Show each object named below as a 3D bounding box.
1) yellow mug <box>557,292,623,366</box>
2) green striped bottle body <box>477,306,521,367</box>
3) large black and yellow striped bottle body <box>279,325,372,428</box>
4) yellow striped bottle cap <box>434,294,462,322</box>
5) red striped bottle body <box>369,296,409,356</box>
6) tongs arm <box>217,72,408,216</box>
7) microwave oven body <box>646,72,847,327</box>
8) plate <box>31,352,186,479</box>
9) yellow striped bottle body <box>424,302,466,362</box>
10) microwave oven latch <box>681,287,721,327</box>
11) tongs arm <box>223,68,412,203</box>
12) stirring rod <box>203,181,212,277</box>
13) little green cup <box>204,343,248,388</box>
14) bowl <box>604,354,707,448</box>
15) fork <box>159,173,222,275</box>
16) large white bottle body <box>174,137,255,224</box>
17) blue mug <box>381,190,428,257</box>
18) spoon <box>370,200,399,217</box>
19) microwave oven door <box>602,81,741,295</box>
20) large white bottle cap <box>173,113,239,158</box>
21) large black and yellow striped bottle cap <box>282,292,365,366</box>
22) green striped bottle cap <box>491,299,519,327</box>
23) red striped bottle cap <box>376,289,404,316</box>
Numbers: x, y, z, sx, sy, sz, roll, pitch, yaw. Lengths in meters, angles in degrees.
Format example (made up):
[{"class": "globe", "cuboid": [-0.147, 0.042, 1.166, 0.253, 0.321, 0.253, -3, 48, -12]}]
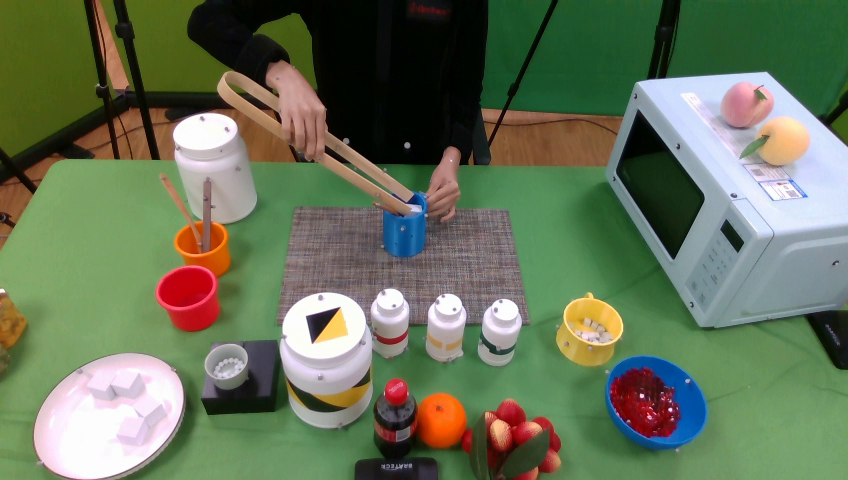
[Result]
[{"class": "yellow mug", "cuboid": [0.285, 0.145, 1.051, 0.100, 0.064, 0.130, 7, 45, 4]}, {"class": "green striped bottle body", "cuboid": [0.124, 0.151, 0.995, 0.063, 0.120, 0.063, 2, 46, -2]}, {"class": "large black and yellow striped bottle body", "cuboid": [-0.143, 0.181, 0.900, 0.131, 0.185, 0.130, 2, 46, -2]}, {"class": "yellow striped bottle cap", "cuboid": [0.037, 0.107, 0.958, 0.044, 0.019, 0.044, 2, 45, -2]}, {"class": "red striped bottle body", "cuboid": [-0.058, 0.134, 0.997, 0.063, 0.120, 0.062, 4, 47, -4]}, {"class": "tongs arm", "cuboid": [-0.185, -0.155, 1.047, 0.389, 0.028, 0.028, 35, 43, -19]}, {"class": "microwave oven body", "cuboid": [0.607, -0.089, 1.164, 0.326, 0.261, 0.438, -7, 46, -10]}, {"class": "plate", "cuboid": [-0.459, 0.262, 0.898, 0.209, 0.038, 0.208, 2, 46, -2]}, {"class": "yellow striped bottle body", "cuboid": [0.035, 0.143, 0.995, 0.063, 0.121, 0.062, 3, 46, -2]}, {"class": "microwave oven latch", "cuboid": [0.494, 0.119, 1.087, 0.030, 0.029, 0.078, -6, 46, -9]}, {"class": "tongs arm", "cuboid": [-0.181, -0.173, 1.067, 0.386, 0.026, 0.050, 37, 39, -17]}, {"class": "stirring rod", "cuboid": [-0.396, -0.021, 1.108, 0.014, 0.006, 0.176, -1, 89, 0]}, {"class": "little green cup", "cuboid": [-0.294, 0.190, 0.909, 0.061, 0.039, 0.061, 1, 48, -1]}, {"class": "bowl", "cuboid": [0.346, 0.261, 0.937, 0.151, 0.077, 0.150, 2, 46, -2]}, {"class": "fork", "cuboid": [-0.427, -0.029, 1.104, 0.028, 0.018, 0.207, -31, 99, -29]}, {"class": "large white bottle body", "cuboid": [-0.408, -0.137, 1.183, 0.131, 0.185, 0.130, 2, 46, -2]}, {"class": "blue mug", "cuboid": [-0.030, -0.040, 1.172, 0.082, 0.106, 0.116, 31, 51, 23]}, {"class": "spoon", "cuboid": [-0.060, -0.050, 1.116, 0.041, 0.194, 0.021, 34, 88, 20]}, {"class": "microwave oven door", "cuboid": [0.456, -0.107, 1.162, 0.039, 0.245, 0.353, -7, 47, -11]}, {"class": "large white bottle cap", "cuboid": [-0.403, -0.195, 1.122, 0.115, 0.018, 0.114, 2, 47, -2]}, {"class": "large black and yellow striped bottle cap", "cuboid": [-0.139, 0.121, 0.841, 0.115, 0.019, 0.114, 3, 47, -3]}, {"class": "green striped bottle cap", "cuboid": [0.128, 0.115, 0.958, 0.044, 0.020, 0.044, 1, 47, -1]}, {"class": "red striped bottle cap", "cuboid": [-0.054, 0.098, 0.958, 0.044, 0.018, 0.044, 0, 48, 0]}]
